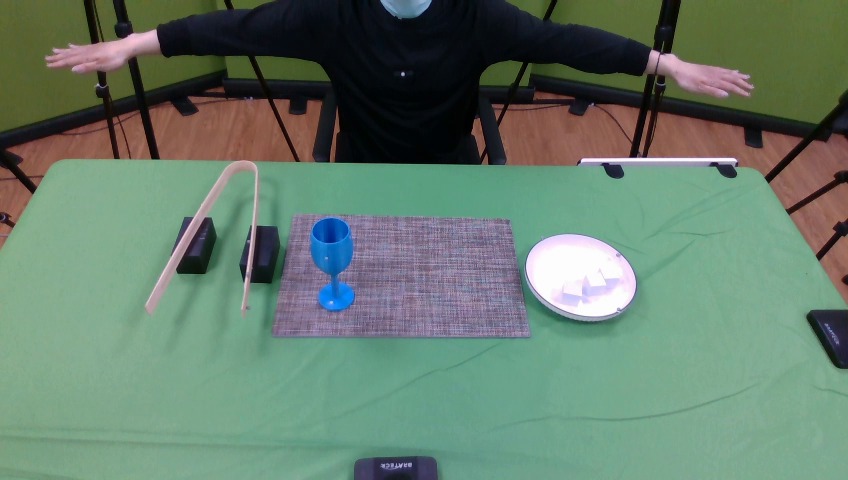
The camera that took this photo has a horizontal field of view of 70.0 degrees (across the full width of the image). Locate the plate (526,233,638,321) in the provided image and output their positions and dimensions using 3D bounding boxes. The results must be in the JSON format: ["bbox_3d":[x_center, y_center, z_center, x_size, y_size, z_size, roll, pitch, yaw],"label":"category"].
[{"bbox_3d":[0.292,0.071,1.135,0.209,0.038,0.208,2,46,-2],"label":"plate"}]

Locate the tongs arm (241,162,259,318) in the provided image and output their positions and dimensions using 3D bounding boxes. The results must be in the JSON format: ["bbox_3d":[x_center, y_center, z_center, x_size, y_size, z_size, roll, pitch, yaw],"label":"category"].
[{"bbox_3d":[-0.334,-0.016,1.118,0.051,0.026,0.382,-3,46,-4],"label":"tongs arm"}]

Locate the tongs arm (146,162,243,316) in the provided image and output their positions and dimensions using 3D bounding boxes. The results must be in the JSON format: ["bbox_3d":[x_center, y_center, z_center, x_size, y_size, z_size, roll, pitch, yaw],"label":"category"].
[{"bbox_3d":[-0.415,-0.018,1.115,0.028,0.028,0.385,4,45,8],"label":"tongs arm"}]

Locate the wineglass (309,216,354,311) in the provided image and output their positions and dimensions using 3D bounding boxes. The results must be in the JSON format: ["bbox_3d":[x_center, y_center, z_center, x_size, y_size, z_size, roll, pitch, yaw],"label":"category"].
[{"bbox_3d":[-0.155,0.043,1.032,0.074,0.173,0.073,2,46,-2],"label":"wineglass"}]
